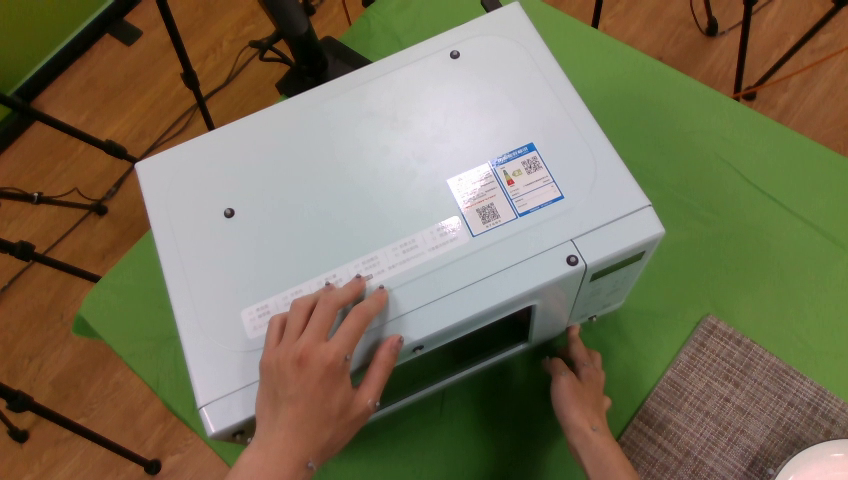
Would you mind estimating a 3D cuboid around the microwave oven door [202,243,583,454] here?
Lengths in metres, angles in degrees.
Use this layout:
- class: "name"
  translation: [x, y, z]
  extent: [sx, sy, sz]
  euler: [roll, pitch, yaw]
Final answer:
- class: "microwave oven door"
  translation: [-0.011, 0.124, 0.629]
  extent: [0.356, 0.246, 0.039]
  euler: [-25, 66, -3]

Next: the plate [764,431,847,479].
- class: "plate"
  translation: [0.448, 0.305, 0.621]
  extent: [0.207, 0.039, 0.206]
  euler: [-3, 68, 6]

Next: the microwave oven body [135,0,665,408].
- class: "microwave oven body"
  translation: [-0.029, -0.012, 0.692]
  extent: [0.442, 0.262, 0.323]
  euler: [-25, 67, -2]

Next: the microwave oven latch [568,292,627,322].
- class: "microwave oven latch"
  translation: [0.203, 0.072, 0.732]
  extent: [0.079, 0.030, 0.030]
  euler: [-21, 67, -1]
